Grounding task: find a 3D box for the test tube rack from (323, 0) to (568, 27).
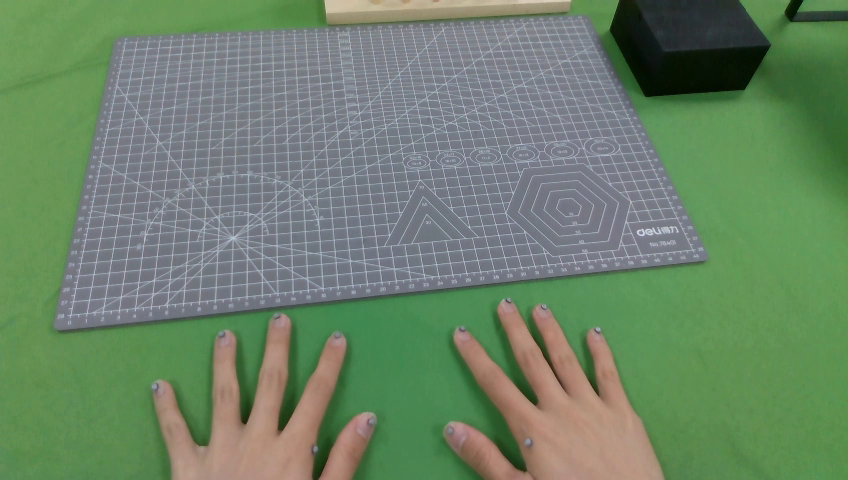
[{"bbox_3d":[0.022,-0.268,0.583,0.243,0.086,0.066,-6,55,-8],"label":"test tube rack"}]
